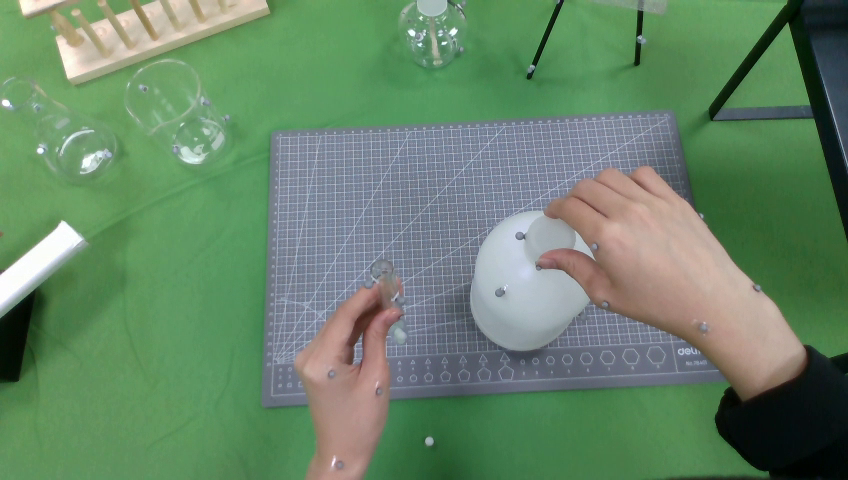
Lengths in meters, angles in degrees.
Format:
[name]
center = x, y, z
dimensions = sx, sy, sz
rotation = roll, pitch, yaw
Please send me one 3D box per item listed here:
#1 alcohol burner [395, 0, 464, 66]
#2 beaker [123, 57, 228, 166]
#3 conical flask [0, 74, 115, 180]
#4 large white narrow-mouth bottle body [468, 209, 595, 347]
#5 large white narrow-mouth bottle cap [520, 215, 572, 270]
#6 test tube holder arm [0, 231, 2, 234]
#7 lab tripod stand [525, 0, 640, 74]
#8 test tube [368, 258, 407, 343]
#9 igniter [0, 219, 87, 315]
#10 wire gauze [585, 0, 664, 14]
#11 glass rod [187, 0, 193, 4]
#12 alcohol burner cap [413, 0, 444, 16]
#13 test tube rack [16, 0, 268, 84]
[alcohol burner]
center = 0.006, -0.247, 0.662
dimensions = 0.078, 0.120, 0.077
rotation = 0, 69, 0
[beaker]
center = -0.253, -0.125, 0.629
dimensions = 0.074, 0.101, 0.083
rotation = 11, 71, 5
[conical flask]
center = -0.379, -0.118, 0.616
dimensions = 0.075, 0.122, 0.075
rotation = 0, 70, 1
[large white narrow-mouth bottle body]
center = 0.092, 0.029, 0.519
dimensions = 0.102, 0.196, 0.101
rotation = 0, 72, 1
[large white narrow-mouth bottle cap]
center = 0.088, 0.002, 0.438
dimensions = 0.038, 0.024, 0.037
rotation = 0, 72, 1
[test tube holder arm]
center = -0.443, 0.018, 0.573
dimensions = 0.010, 0.015, 0.087
rotation = 41, 75, 14
[lab tripod stand]
center = 0.176, -0.254, 0.651
dimensions = 0.148, 0.132, 0.147
rotation = 0, 69, 0
[test tube]
center = -0.025, 0.051, 0.456
dimensions = 0.017, 0.151, 0.017
rotation = -1, 64, 2
[igniter]
center = -0.429, 0.085, 0.546
dimensions = 0.057, 0.025, 0.276
rotation = 40, 73, 11
[wire gauze]
center = 0.182, -0.279, 0.588
dimensions = 0.121, 0.011, 0.124
rotation = 18, 73, 5
[glass rod]
center = -0.292, -0.327, 0.637
dimensions = 0.008, 0.201, 0.008
rotation = -3, 65, 6
[alcohol burner cap]
center = 0.005, -0.261, 0.628
dimensions = 0.034, 0.048, 0.033
rotation = 0, 69, 0
[test tube rack]
center = -0.312, -0.269, 0.687
dimensions = 0.242, 0.086, 0.066
rotation = -23, 72, -7
